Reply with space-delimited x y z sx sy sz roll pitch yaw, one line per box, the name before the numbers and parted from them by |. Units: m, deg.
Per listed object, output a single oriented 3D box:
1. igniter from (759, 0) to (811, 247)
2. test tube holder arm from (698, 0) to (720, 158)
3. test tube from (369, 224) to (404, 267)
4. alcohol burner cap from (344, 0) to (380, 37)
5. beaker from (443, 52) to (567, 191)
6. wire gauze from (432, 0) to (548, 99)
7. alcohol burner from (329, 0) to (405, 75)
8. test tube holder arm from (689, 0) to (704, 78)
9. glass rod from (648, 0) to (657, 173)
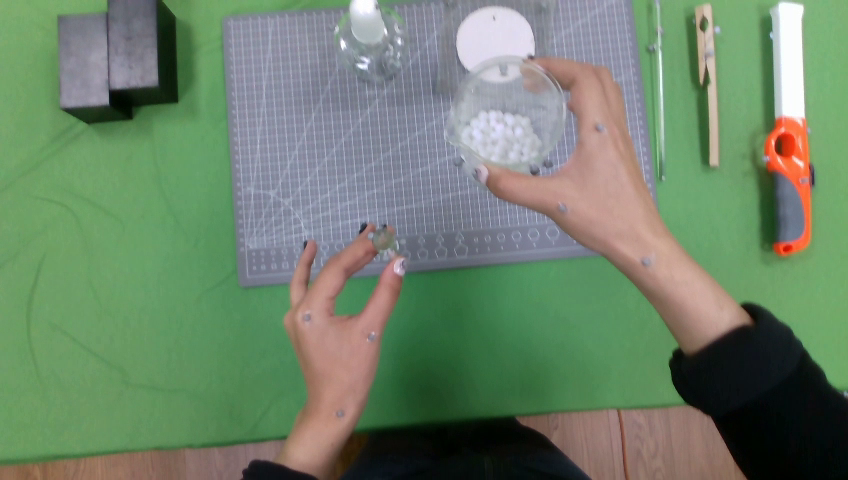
igniter | 0.386 -0.130 0.650 0.057 0.025 0.276 2 85 -11
test tube holder arm | 0.308 -0.177 0.656 0.013 0.015 0.178 -8 83 34
test tube | -0.028 0.007 0.479 0.017 0.150 0.017 0 82 1
alcohol burner cap | -0.060 -0.218 0.571 0.034 0.048 0.033 0 78 0
beaker | 0.055 -0.078 0.442 0.084 0.100 0.073 -20 82 1
wire gauze | 0.073 -0.220 0.662 0.125 0.011 0.121 6 86 -1
alcohol burner | -0.059 -0.213 0.606 0.078 0.119 0.077 0 84 2
test tube holder arm | 0.300 -0.221 0.664 0.010 0.015 0.087 -6 84 34
glass rod | 0.250 -0.172 0.661 0.008 0.008 0.199 0 87 -1
